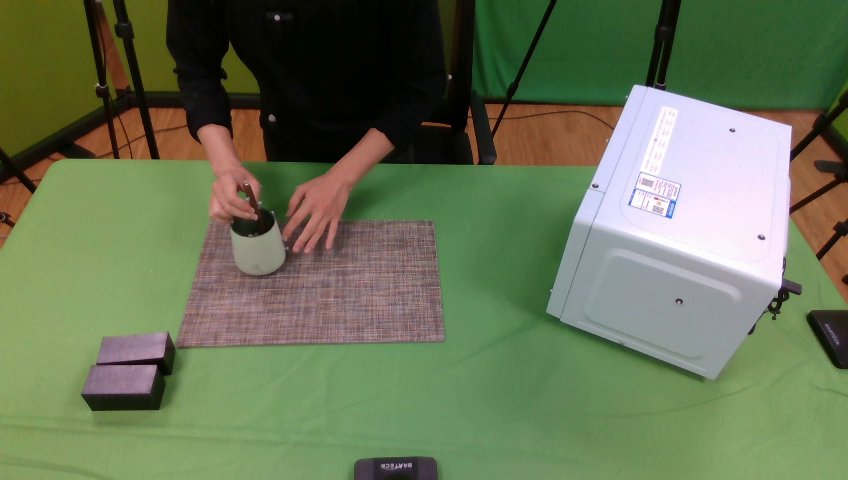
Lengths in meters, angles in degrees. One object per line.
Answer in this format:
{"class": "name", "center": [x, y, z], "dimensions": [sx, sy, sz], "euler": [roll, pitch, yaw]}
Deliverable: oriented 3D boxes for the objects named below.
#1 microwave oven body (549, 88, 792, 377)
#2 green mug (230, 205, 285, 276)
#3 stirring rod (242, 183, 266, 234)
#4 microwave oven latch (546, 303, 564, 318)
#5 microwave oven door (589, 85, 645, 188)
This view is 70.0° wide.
{"class": "microwave oven body", "center": [0.456, -0.028, 1.087], "dimensions": [0.325, 0.261, 0.440], "euler": [20, 47, 16]}
{"class": "green mug", "center": [-0.311, -0.008, 1.117], "dimensions": [0.092, 0.105, 0.124], "euler": [-14, 49, -16]}
{"class": "stirring rod", "center": [-0.289, -0.036, 1.059], "dimensions": [0.014, 0.177, 0.006], "euler": [16, 53, 15]}
{"class": "microwave oven latch", "center": [0.242, 0.102, 1.081], "dimensions": [0.030, 0.029, 0.079], "euler": [22, 48, 17]}
{"class": "microwave oven door", "center": [0.342, -0.107, 1.148], "dimensions": [0.039, 0.245, 0.354], "euler": [20, 48, 15]}
